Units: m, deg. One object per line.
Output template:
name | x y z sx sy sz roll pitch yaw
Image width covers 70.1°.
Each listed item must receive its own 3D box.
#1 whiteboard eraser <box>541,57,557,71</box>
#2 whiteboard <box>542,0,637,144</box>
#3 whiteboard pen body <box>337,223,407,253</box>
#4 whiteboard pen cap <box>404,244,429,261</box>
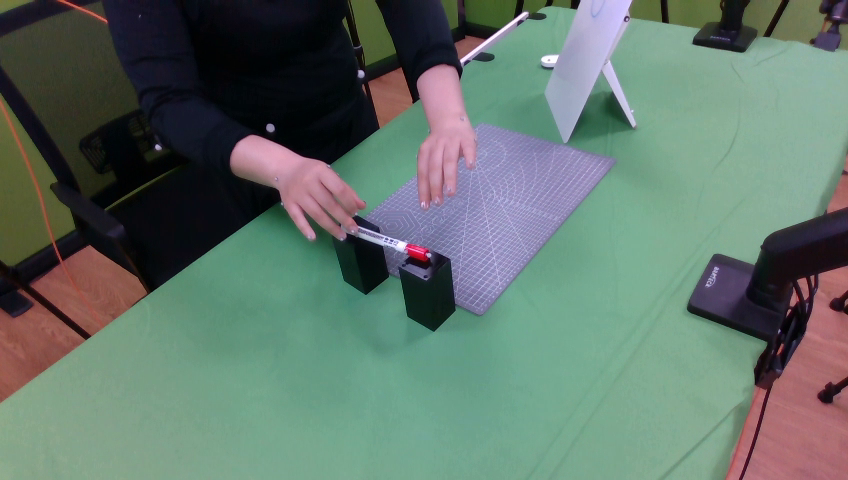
whiteboard eraser | 0.323 -0.412 1.407 0.101 0.019 0.041 1 41 11
whiteboard | 0.366 -0.351 1.160 0.144 0.305 0.216 10 39 -10
whiteboard pen body | -0.061 0.000 0.829 0.139 0.017 0.017 17 46 28
whiteboard pen cap | -0.010 0.016 0.801 0.032 0.017 0.017 18 46 29
